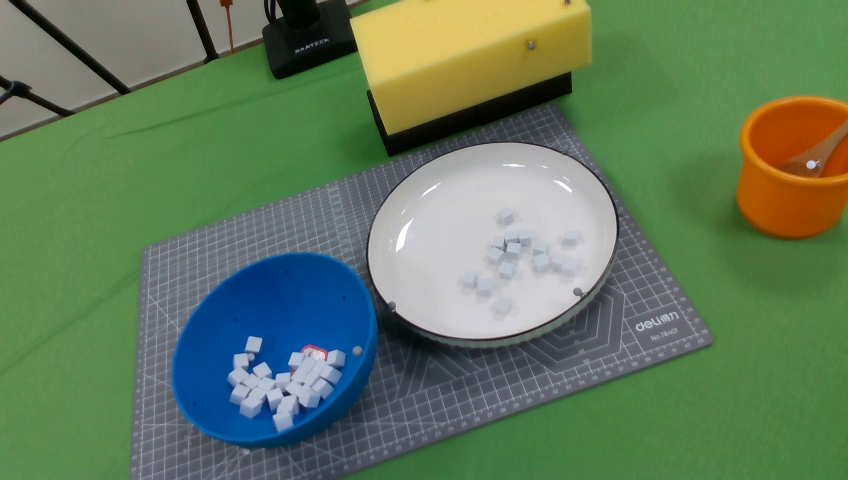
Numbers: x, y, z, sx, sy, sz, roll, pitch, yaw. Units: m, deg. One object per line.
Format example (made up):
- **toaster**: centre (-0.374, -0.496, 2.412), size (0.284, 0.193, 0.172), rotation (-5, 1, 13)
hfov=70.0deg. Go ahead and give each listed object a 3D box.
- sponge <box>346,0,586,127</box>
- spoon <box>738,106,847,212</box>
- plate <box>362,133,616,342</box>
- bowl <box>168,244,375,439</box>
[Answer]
- **sponge**: centre (0.038, -0.198, 0.585), size (0.207, 0.061, 0.117), rotation (-19, 51, 0)
- **spoon**: centre (0.310, -0.092, 0.436), size (0.022, 0.194, 0.041), rotation (7, 44, -37)
- **plate**: centre (0.052, -0.004, 0.508), size (0.209, 0.038, 0.207), rotation (-7, 53, 10)
- **bowl**: centre (-0.101, 0.086, 0.456), size (0.151, 0.077, 0.150), rotation (-8, 52, 10)
